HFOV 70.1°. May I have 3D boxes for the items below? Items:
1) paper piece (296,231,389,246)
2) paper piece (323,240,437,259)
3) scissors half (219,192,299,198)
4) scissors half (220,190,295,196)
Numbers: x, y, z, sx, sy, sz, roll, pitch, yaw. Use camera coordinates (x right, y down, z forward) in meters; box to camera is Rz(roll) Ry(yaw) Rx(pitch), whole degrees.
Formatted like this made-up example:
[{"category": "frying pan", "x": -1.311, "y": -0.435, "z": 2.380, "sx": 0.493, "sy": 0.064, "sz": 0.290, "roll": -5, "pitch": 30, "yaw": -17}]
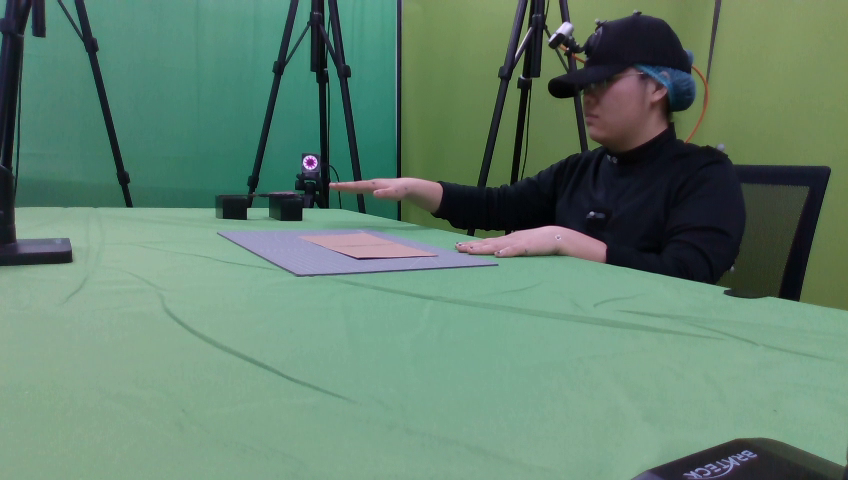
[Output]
[{"category": "paper piece", "x": -0.138, "y": -0.003, "z": 1.046, "sx": 0.136, "sy": 0.004, "sz": 0.134, "roll": -3, "pitch": 9, "yaw": -31}, {"category": "paper piece", "x": -0.069, "y": 0.015, "z": 0.932, "sx": 0.137, "sy": 0.008, "sz": 0.137, "roll": -5, "pitch": 11, "yaw": -30}, {"category": "scissors half", "x": -0.370, "y": -0.101, "z": 1.363, "sx": 0.176, "sy": 0.013, "sz": 0.040, "roll": -2, "pitch": 9, "yaw": -19}, {"category": "scissors half", "x": -0.379, "y": -0.105, "z": 1.380, "sx": 0.176, "sy": 0.013, "sz": 0.040, "roll": -5, "pitch": 16, "yaw": -36}]
